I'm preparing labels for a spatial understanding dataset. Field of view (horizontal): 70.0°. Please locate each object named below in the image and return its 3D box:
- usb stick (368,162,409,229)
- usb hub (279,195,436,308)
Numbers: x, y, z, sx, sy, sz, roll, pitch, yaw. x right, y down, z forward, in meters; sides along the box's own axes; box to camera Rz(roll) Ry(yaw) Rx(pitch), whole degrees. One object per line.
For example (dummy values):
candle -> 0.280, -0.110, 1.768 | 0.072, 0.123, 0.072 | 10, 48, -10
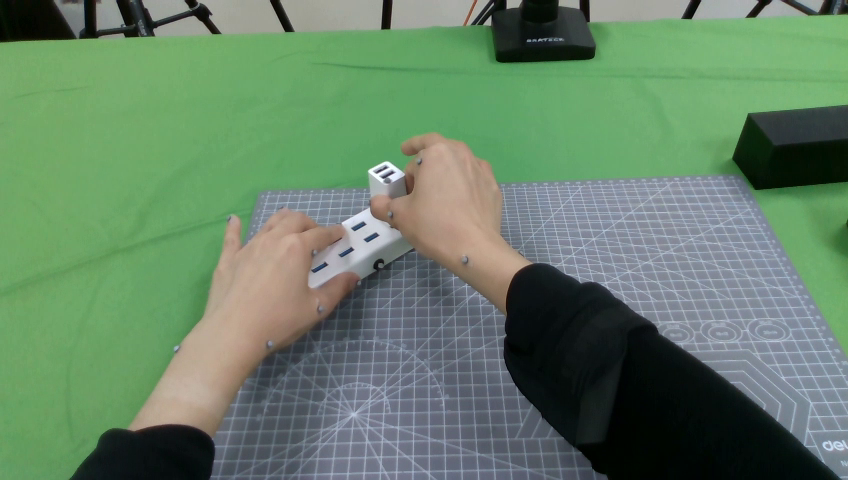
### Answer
usb stick -> -0.028, -0.031, 0.490 | 0.021, 0.060, 0.027 | -33, 49, -26
usb hub -> -0.053, 0.005, 0.500 | 0.125, 0.025, 0.049 | -31, 50, -26
